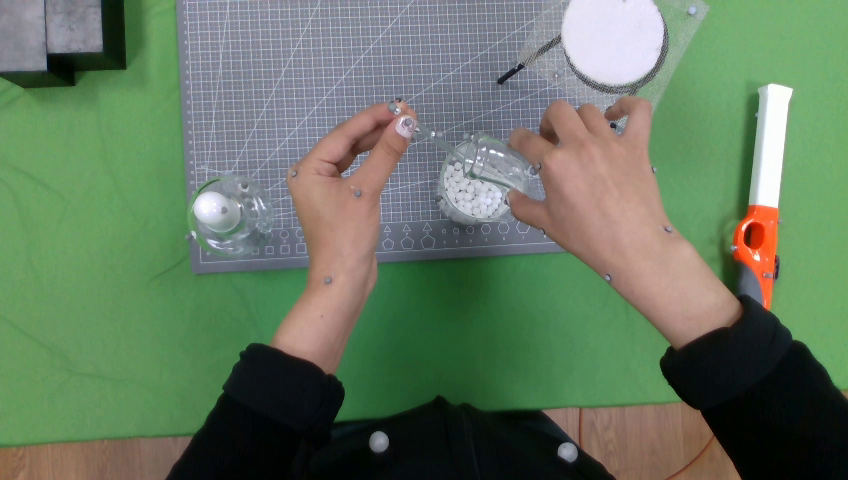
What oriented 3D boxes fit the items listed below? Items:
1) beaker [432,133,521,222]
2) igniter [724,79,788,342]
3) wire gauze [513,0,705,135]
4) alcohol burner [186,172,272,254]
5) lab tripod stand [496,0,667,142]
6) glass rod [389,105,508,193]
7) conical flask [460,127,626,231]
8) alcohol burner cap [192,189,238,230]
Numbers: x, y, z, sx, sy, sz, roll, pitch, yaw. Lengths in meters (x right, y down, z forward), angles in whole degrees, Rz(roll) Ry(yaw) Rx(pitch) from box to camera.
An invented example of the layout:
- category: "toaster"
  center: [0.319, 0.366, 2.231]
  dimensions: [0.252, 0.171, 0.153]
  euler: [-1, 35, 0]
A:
- category: "beaker"
  center: [0.047, -0.052, 0.575]
  dimensions: [0.074, 0.100, 0.084]
  euler: [-39, 92, -3]
- category: "igniter"
  center: [0.349, -0.029, 0.635]
  dimensions: [0.057, 0.025, 0.276]
  euler: [7, 89, -14]
- category: "wire gauze"
  center: [0.152, -0.170, 0.500]
  dimensions: [0.125, 0.011, 0.121]
  euler: [29, 89, -3]
- category: "alcohol burner"
  center: [-0.182, -0.025, 0.551]
  dimensions: [0.078, 0.119, 0.078]
  euler: [0, 90, -3]
- category: "lab tripod stand"
  center: [0.151, -0.167, 0.567]
  dimensions: [0.148, 0.131, 0.148]
  euler: [0, 90, -3]
- category: "glass rod"
  center: [0.028, -0.067, 0.490]
  dimensions: [0.008, 0.201, 0.008]
  euler: [-8, 74, 29]
- category: "conical flask"
  center: [0.091, -0.055, 0.482]
  dimensions: [0.122, 0.075, 0.075]
  euler: [13, 88, -14]
- category: "alcohol burner cap"
  center: [-0.179, -0.028, 0.515]
  dimensions: [0.034, 0.048, 0.034]
  euler: [1, 82, -6]
